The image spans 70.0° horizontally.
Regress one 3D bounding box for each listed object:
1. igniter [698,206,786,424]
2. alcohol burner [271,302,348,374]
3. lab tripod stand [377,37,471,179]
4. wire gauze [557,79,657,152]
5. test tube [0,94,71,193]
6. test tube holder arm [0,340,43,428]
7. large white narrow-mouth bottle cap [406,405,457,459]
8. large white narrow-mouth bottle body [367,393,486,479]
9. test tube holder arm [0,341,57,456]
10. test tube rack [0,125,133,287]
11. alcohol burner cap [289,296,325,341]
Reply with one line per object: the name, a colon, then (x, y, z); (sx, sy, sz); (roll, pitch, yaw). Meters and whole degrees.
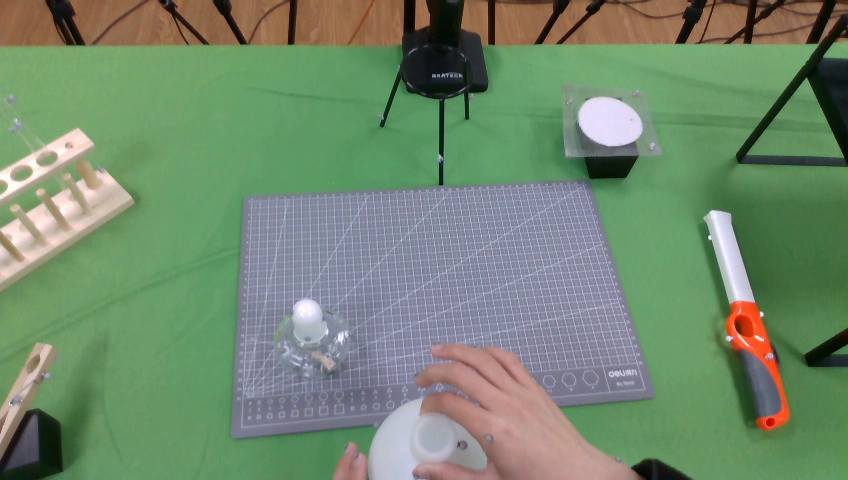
igniter: (0.372, 0.078, 0.715); (0.057, 0.025, 0.274); (7, 59, -13)
alcohol burner: (-0.116, 0.091, 0.613); (0.078, 0.120, 0.077); (3, 58, -5)
lab tripod stand: (0.010, -0.173, 0.771); (0.148, 0.132, 0.147); (3, 60, -5)
wire gauze: (0.238, -0.164, 0.801); (0.121, 0.011, 0.124); (3, 59, -3)
test tube: (-0.421, -0.099, 0.660); (0.017, 0.151, 0.017); (1, 58, -1)
test tube holder arm: (-0.379, 0.137, 0.567); (0.010, 0.015, 0.087); (6, 60, 5)
large white narrow-mouth bottle cap: (0.006, 0.142, 0.449); (0.038, 0.024, 0.037); (2, 58, -2)
large white narrow-mouth bottle body: (0.001, 0.188, 0.521); (0.102, 0.196, 0.101); (2, 58, -2)
test tube holder arm: (-0.380, 0.175, 0.545); (0.013, 0.015, 0.177); (8, 60, 6)
test tube rack: (-0.459, -0.018, 0.666); (0.066, 0.086, 0.242); (40, 64, 18)
alcohol burner cap: (-0.114, 0.073, 0.581); (0.034, 0.048, 0.033); (1, 54, -1)
